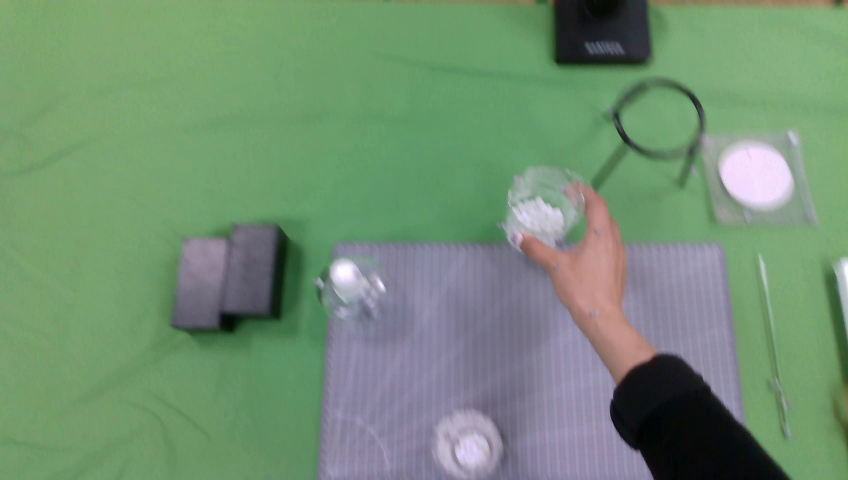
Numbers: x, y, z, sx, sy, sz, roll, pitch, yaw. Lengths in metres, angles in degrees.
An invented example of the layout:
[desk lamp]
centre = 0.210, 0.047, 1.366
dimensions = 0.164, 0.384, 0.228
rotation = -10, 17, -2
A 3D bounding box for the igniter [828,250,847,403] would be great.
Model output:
[igniter]
centre = 0.472, 0.145, 0.643
dimensions = 0.057, 0.025, 0.275
rotation = 3, 74, -10

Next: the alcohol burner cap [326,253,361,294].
[alcohol burner cap]
centre = -0.081, 0.030, 0.596
dimensions = 0.034, 0.048, 0.033
rotation = 1, 66, -1

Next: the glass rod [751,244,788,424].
[glass rod]
centre = 0.380, 0.099, 0.667
dimensions = 0.008, 0.008, 0.198
rotation = -2, 74, 0

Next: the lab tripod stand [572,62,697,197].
[lab tripod stand]
centre = 0.227, -0.116, 0.664
dimensions = 0.148, 0.132, 0.147
rotation = 0, 76, 1

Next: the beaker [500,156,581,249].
[beaker]
centre = 0.119, -0.036, 0.630
dimensions = 0.084, 0.101, 0.073
rotation = -38, 77, -8

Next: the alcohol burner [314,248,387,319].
[alcohol burner]
centre = -0.079, 0.042, 0.630
dimensions = 0.078, 0.120, 0.077
rotation = -1, 74, 3

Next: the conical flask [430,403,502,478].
[conical flask]
centre = 0.042, 0.194, 0.582
dimensions = 0.075, 0.122, 0.075
rotation = 0, 74, 1

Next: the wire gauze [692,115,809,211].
[wire gauze]
centre = 0.388, -0.091, 0.720
dimensions = 0.125, 0.011, 0.121
rotation = -2, 75, -2
